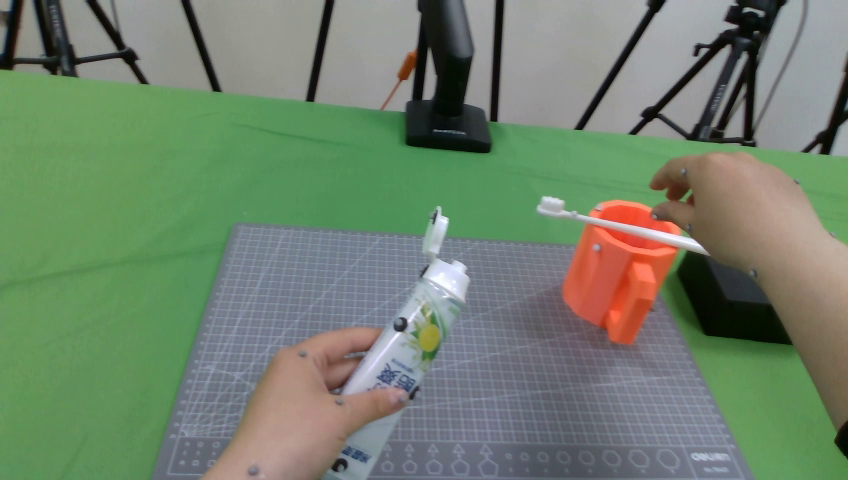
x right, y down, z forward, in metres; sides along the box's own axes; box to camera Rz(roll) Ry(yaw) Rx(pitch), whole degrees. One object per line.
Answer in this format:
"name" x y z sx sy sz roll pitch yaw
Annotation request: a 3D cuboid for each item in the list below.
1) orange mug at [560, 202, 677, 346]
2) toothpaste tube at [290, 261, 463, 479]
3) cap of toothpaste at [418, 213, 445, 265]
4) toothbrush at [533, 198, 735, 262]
"orange mug" 0.186 0.035 0.578 0.083 0.101 0.125 9 34 -1
"toothpaste tube" -0.023 0.084 0.400 0.055 0.165 0.034 34 -9 -19
"cap of toothpaste" 0.006 -0.001 0.414 0.011 0.037 0.037 16 38 2
"toothbrush" 0.189 -0.009 0.549 0.181 0.017 0.014 15 30 7
